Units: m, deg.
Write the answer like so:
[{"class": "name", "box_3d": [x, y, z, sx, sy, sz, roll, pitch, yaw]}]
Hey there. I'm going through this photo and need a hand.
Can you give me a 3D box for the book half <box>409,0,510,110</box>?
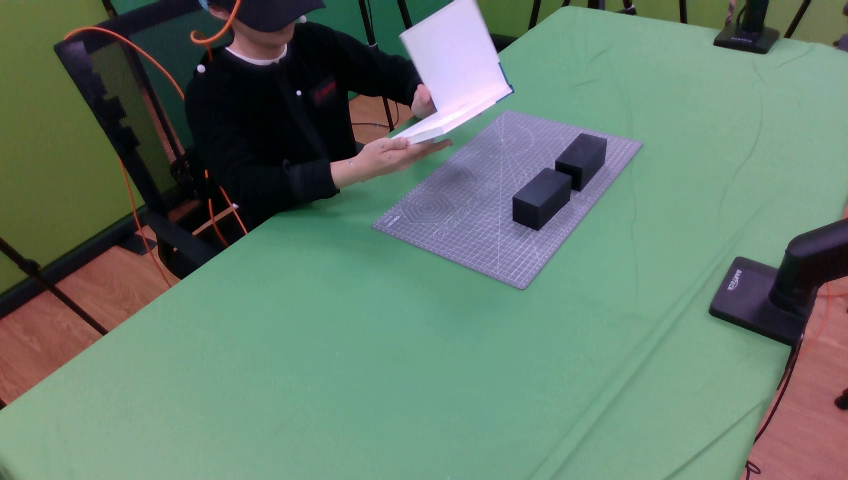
[{"class": "book half", "box_3d": [0.051, -0.294, 0.977, 0.007, 0.143, 0.208, -28, 14, -27]}]
